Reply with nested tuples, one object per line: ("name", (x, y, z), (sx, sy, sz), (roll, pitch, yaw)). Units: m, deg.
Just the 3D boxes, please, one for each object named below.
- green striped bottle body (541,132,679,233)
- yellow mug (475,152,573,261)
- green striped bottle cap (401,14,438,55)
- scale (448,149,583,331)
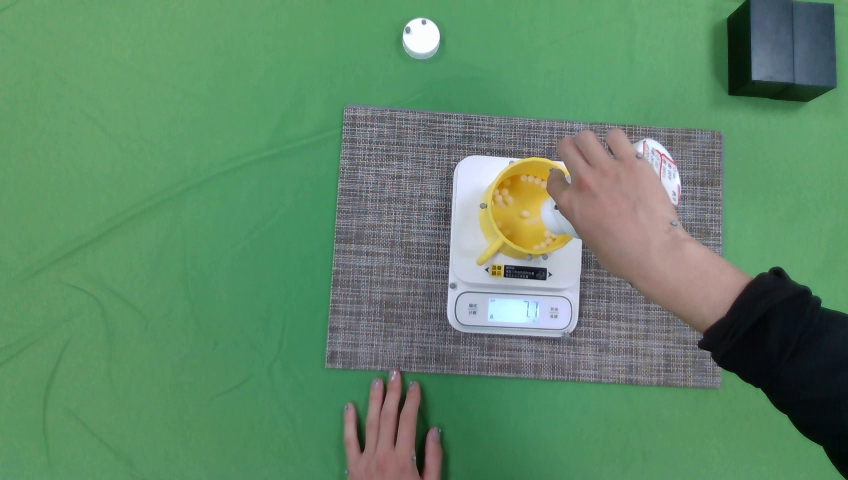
("green striped bottle body", (0.164, -0.046, 0.556), (0.064, 0.119, 0.062), (16, 63, -34))
("yellow mug", (0.100, -0.026, 0.638), (0.100, 0.064, 0.131), (43, 85, 2))
("green striped bottle cap", (-0.006, -0.243, 0.714), (0.044, 0.020, 0.044), (0, 87, -2))
("scale", (0.104, 0.000, 0.683), (0.149, 0.031, 0.200), (3, 85, -2))
